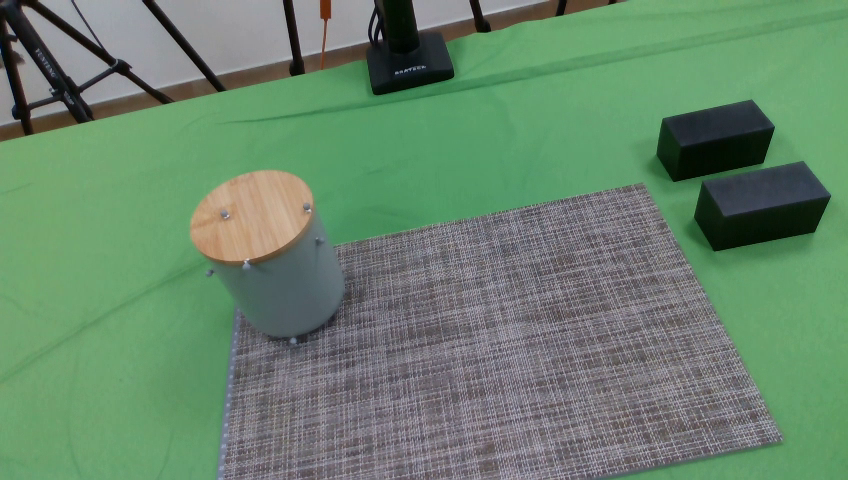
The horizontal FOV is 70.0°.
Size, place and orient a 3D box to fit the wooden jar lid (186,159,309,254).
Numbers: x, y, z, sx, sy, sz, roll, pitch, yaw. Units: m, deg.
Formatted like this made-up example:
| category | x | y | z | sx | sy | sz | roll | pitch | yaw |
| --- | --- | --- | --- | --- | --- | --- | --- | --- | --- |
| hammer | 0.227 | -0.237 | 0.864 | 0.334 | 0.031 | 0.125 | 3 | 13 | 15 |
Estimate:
| category | x | y | z | sx | sy | sz | roll | pitch | yaw |
| --- | --- | --- | --- | --- | --- | --- | --- | --- | --- |
| wooden jar lid | -0.153 | -0.028 | 0.534 | 0.108 | 0.021 | 0.107 | -3 | 52 | 4 |

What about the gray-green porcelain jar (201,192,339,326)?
| category | x | y | z | sx | sy | sz | roll | pitch | yaw |
| --- | --- | --- | --- | --- | --- | --- | --- | --- | --- |
| gray-green porcelain jar | -0.143 | 0.013 | 0.580 | 0.106 | 0.128 | 0.105 | -5 | 49 | 7 |
